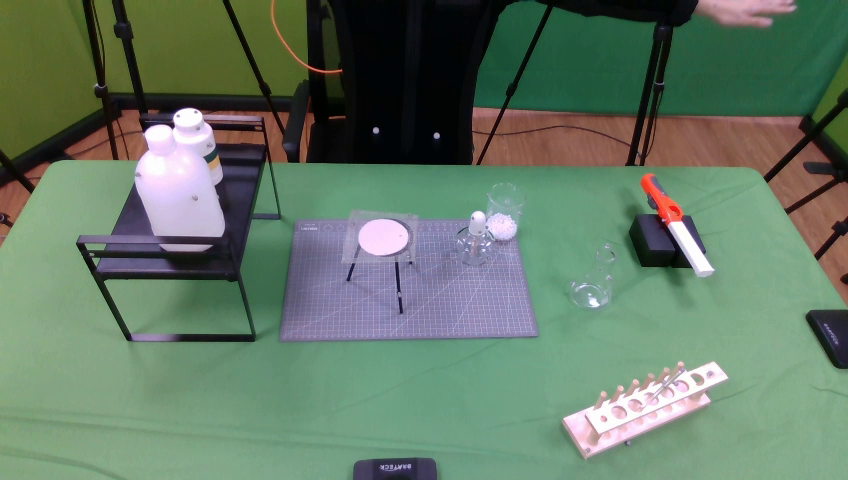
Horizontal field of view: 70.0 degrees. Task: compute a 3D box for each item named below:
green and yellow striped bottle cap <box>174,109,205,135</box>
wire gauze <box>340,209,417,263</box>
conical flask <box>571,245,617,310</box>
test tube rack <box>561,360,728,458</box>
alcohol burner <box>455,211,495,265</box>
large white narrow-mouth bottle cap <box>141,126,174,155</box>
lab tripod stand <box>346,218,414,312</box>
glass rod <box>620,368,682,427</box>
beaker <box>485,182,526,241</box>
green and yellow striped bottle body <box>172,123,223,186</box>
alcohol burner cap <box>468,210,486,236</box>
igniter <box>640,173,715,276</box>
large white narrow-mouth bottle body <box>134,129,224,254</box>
[{"bbox_3d":[-0.369,-0.186,0.954,0.045,0.020,0.045,3,50,-3],"label":"green and yellow striped bottle cap"},{"bbox_3d":[-0.074,-0.007,1.023,0.121,0.011,0.124,3,46,0],"label":"wire gauze"},{"bbox_3d":[0.313,0.064,1.089,0.075,0.122,0.075,2,46,-2],"label":"conical flask"},{"bbox_3d":[0.341,0.248,0.940,0.243,0.085,0.066,-15,49,-18],"label":"test tube rack"},{"bbox_3d":[0.097,-0.010,1.147,0.078,0.120,0.077,1,47,-1],"label":"alcohol burner"},{"bbox_3d":[-0.356,-0.133,0.811,0.038,0.024,0.037,1,48,-1],"label":"large white narrow-mouth bottle cap"},{"bbox_3d":[-0.070,0.037,1.075,0.148,0.132,0.147,1,47,-1],"label":"lab tripod stand"},{"bbox_3d":[0.320,0.229,0.864,0.008,0.200,0.008,5,52,-6],"label":"glass rod"},{"bbox_3d":[0.159,-0.055,1.205,0.074,0.101,0.084,23,49,17],"label":"beaker"},{"bbox_3d":[-0.373,-0.148,0.994,0.063,0.120,0.063,2,46,-2],"label":"green and yellow striped bottle body"},{"bbox_3d":[0.100,-0.034,1.119,0.034,0.048,0.033,0,53,0],"label":"alcohol burner cap"},{"bbox_3d":[0.495,-0.039,1.204,0.057,0.025,0.274,-2,47,-12],"label":"igniter"},{"bbox_3d":[-0.358,-0.075,0.875,0.102,0.195,0.101,1,48,-1],"label":"large white narrow-mouth bottle body"}]
